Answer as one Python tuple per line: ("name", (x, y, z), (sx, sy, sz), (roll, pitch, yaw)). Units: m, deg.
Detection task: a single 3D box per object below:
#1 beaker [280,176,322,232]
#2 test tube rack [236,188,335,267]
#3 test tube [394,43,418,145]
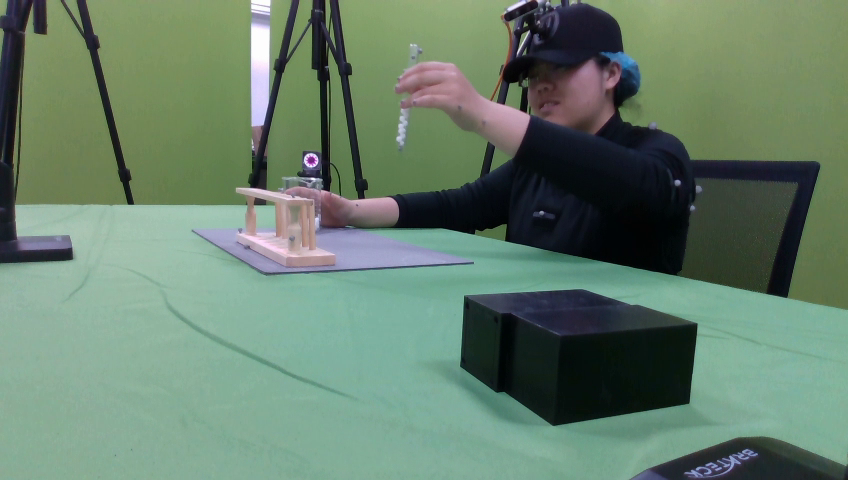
("beaker", (-0.225, -0.065, 1.111), (0.074, 0.100, 0.083), (-2, 10, -30))
("test tube rack", (-0.202, -0.024, 0.855), (0.067, 0.085, 0.241), (-2, 9, -31))
("test tube", (-0.026, -0.215, 0.889), (0.017, 0.150, 0.017), (8, 0, 0))
